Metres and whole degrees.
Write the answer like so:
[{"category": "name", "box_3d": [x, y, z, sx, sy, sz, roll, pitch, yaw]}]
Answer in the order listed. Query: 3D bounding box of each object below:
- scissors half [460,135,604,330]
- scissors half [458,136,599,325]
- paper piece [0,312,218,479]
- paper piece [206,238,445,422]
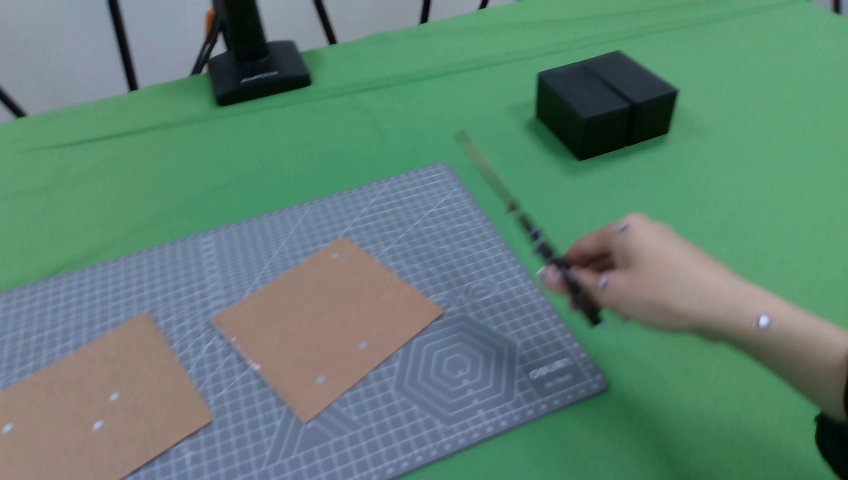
[{"category": "scissors half", "box_3d": [0.072, -0.009, 0.434, 0.013, 0.040, 0.174, -35, 74, 6]}, {"category": "scissors half", "box_3d": [0.065, -0.015, 0.416, 0.013, 0.040, 0.173, -38, 57, 10]}, {"category": "paper piece", "box_3d": [-0.237, 0.122, 0.433, 0.136, 0.004, 0.134, -31, 48, -25]}, {"category": "paper piece", "box_3d": [-0.078, 0.061, 0.482, 0.138, 0.009, 0.134, -34, 53, -28]}]
